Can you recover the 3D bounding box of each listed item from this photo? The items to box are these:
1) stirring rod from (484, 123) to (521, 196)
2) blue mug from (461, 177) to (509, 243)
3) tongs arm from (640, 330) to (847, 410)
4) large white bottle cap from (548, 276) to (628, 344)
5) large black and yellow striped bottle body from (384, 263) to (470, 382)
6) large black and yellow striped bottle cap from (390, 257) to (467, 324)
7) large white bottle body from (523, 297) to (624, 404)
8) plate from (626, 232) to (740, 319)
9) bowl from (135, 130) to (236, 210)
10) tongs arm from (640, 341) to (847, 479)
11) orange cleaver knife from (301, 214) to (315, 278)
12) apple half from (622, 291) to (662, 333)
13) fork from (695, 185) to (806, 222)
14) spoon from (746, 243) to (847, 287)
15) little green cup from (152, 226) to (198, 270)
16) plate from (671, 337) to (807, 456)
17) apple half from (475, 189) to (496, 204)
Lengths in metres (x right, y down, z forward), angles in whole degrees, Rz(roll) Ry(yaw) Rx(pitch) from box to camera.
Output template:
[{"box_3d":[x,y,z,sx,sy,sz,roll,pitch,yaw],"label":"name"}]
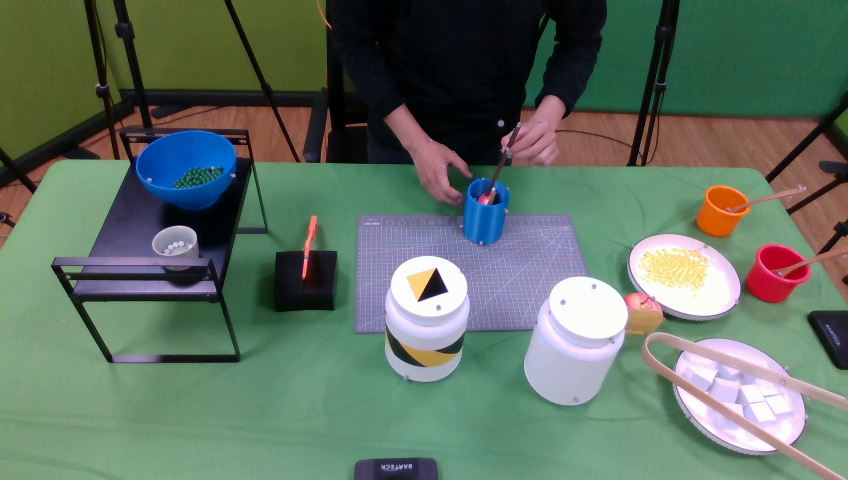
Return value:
[{"box_3d":[0.141,-0.144,1.103,0.006,0.177,0.014,42,51,19],"label":"stirring rod"},{"box_3d":[0.114,-0.070,1.211,0.082,0.106,0.115,-12,48,-15],"label":"blue mug"},{"box_3d":[0.543,0.226,0.969,0.384,0.026,0.050,22,53,13],"label":"tongs arm"},{"box_3d":[0.240,0.100,0.890,0.115,0.018,0.114,3,47,-3],"label":"large white bottle cap"},{"box_3d":[0.002,0.127,0.962,0.131,0.185,0.130,2,48,-2],"label":"large black and yellow striped bottle body"},{"box_3d":[0.007,0.072,0.898,0.115,0.019,0.114,2,48,-2],"label":"large black and yellow striped bottle cap"},{"box_3d":[0.235,0.159,0.952,0.131,0.185,0.130,2,47,-2],"label":"large white bottle body"},{"box_3d":[0.488,0.070,1.157,0.209,0.038,0.208,3,46,-3],"label":"plate"},{"box_3d":[-0.375,-0.102,0.977,0.151,0.077,0.150,2,46,-2],"label":"bowl"},{"box_3d":[0.500,0.278,0.920,0.386,0.028,0.028,34,59,22],"label":"tongs arm"},{"box_3d":[-0.218,0.007,1.131,0.012,0.077,0.210,7,19,-9],"label":"orange cleaver knife"},{"box_3d":[0.372,0.124,1.074,0.081,0.075,0.053,0,42,1],"label":"apple half"},{"box_3d":[0.658,-0.074,1.229,0.207,0.019,0.028,-23,34,37],"label":"fork"},{"box_3d":[0.702,0.043,1.126,0.194,0.022,0.041,-29,38,30],"label":"spoon"},{"box_3d":[-0.364,0.013,0.894,0.061,0.039,0.061,3,46,-3],"label":"little green cup"},{"box_3d":[0.504,0.254,0.984,0.208,0.039,0.206,2,46,-2],"label":"plate"},{"box_3d":[0.110,-0.067,1.195,0.033,0.081,0.081,27,50,8],"label":"apple half"}]
